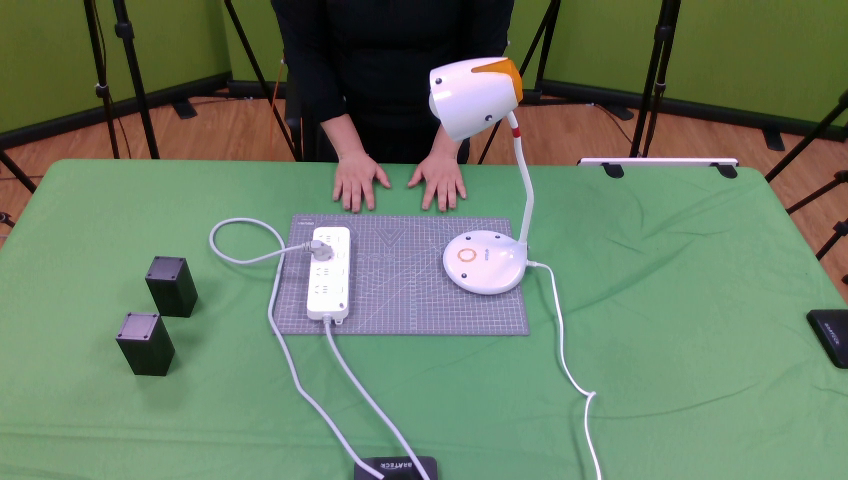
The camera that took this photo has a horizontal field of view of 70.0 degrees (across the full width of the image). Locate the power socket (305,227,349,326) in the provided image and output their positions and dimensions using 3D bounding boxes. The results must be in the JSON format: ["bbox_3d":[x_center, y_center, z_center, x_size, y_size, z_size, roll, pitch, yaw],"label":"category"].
[{"bbox_3d":[-0.176,0.059,1.115,0.072,0.033,0.225,-1,46,-4],"label":"power socket"}]

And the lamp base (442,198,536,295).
[{"bbox_3d":[0.131,-0.013,1.106,0.179,0.181,0.159,0,46,-8],"label":"lamp base"}]

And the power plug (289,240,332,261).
[{"bbox_3d":[-0.207,0.022,1.123,0.072,0.053,0.035,6,44,5],"label":"power plug"}]

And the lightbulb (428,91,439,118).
[{"bbox_3d":[0.057,-0.213,0.888,0.107,0.060,0.059,-12,40,24],"label":"lightbulb"}]

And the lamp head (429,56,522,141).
[{"bbox_3d":[0.082,-0.212,0.882,0.123,0.113,0.111,-13,44,14],"label":"lamp head"}]
